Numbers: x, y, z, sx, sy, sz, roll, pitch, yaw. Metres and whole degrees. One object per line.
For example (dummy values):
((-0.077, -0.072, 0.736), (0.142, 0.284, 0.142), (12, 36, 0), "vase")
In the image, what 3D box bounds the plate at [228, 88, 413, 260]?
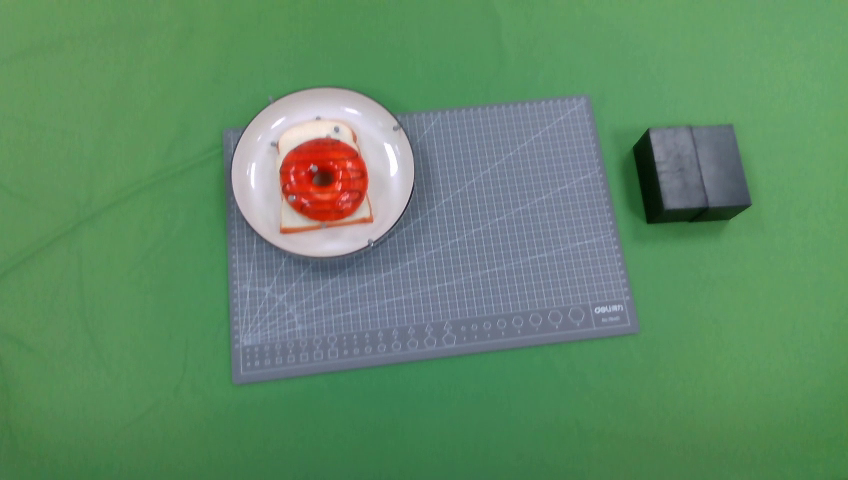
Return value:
((-0.116, -0.074, 0.698), (0.209, 0.038, 0.208), (1, 74, -3), "plate")

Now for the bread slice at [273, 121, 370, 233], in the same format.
((-0.124, -0.076, 0.700), (0.105, 0.019, 0.131), (-9, 75, -6), "bread slice")

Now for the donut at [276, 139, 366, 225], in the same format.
((-0.113, -0.064, 0.667), (0.099, 0.048, 0.098), (1, 76, -5), "donut")
